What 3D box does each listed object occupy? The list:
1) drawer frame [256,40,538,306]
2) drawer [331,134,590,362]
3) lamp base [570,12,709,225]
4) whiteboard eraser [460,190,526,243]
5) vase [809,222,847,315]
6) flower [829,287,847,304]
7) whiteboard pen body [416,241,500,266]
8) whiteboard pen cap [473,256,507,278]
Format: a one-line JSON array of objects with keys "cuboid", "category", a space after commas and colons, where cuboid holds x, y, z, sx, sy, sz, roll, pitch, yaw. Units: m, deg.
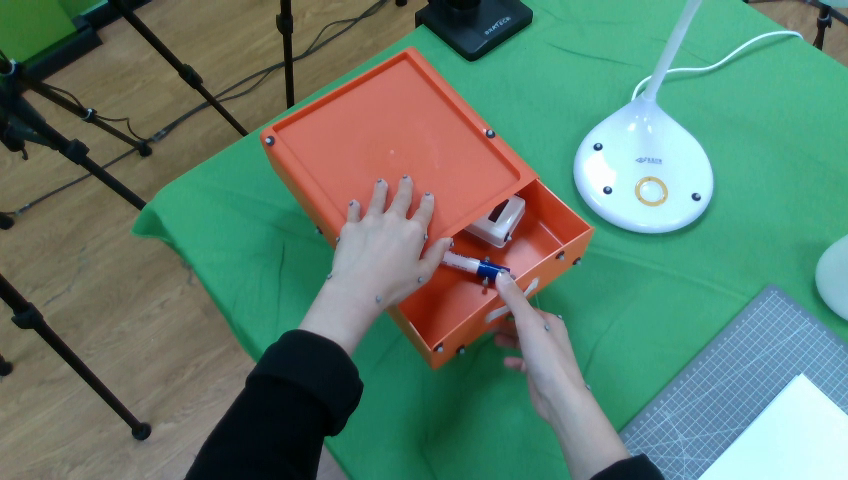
[{"cuboid": [-0.030, -0.074, 0.632, 0.201, 0.083, 0.212, -35, 71, -15], "category": "drawer frame"}, {"cuboid": [0.019, -0.019, 0.603, 0.194, 0.074, 0.210, -35, 67, -15], "category": "drawer"}, {"cuboid": [0.249, -0.135, 0.651, 0.161, 0.182, 0.177, -6, 60, -2], "category": "lamp base"}, {"cuboid": [0.051, -0.034, 0.648, 0.111, 0.042, 0.055, 17, 70, 41], "category": "whiteboard eraser"}, {"cuboid": [0.454, -0.001, 0.568, 0.098, 0.201, 0.097, -1, 61, 2], "category": "vase"}, {"cuboid": [0.470, -0.045, 0.498, 0.038, 0.364, 0.044, 32, 50, 9], "category": "flower"}, {"cuboid": [0.008, 0.009, 0.609, 0.140, 0.017, 0.017, 13, 63, 10], "category": "whiteboard pen body"}, {"cuboid": [0.065, 0.025, 0.605, 0.033, 0.018, 0.018, 15, 64, 8], "category": "whiteboard pen cap"}]
